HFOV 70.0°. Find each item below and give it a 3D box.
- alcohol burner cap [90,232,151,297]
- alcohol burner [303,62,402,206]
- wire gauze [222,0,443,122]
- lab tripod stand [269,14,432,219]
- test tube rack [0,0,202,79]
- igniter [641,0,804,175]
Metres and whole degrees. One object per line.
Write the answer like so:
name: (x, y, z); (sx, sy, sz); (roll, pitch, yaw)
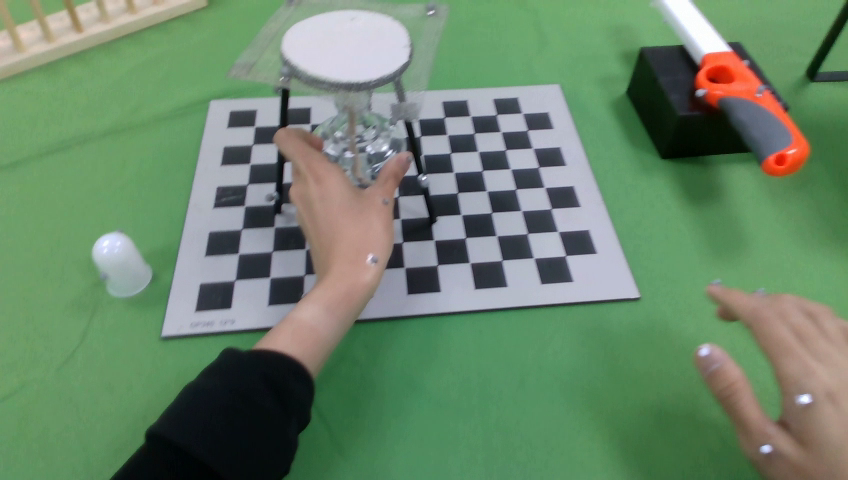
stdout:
alcohol burner cap: (-0.221, 0.015, 0.435); (0.034, 0.048, 0.033); (1, 50, -1)
alcohol burner: (-0.057, -0.083, 0.470); (0.078, 0.120, 0.077); (-1, 51, 1)
wire gauze: (-0.055, -0.130, 0.407); (0.125, 0.011, 0.120); (10, 50, 5)
lab tripod stand: (-0.054, -0.089, 0.461); (0.148, 0.132, 0.147); (2, 49, -2)
test tube rack: (-0.366, -0.253, 0.625); (0.242, 0.086, 0.066); (-32, 59, -25)
igniter: (0.254, -0.153, 0.535); (0.057, 0.025, 0.273); (-6, 48, -2)
